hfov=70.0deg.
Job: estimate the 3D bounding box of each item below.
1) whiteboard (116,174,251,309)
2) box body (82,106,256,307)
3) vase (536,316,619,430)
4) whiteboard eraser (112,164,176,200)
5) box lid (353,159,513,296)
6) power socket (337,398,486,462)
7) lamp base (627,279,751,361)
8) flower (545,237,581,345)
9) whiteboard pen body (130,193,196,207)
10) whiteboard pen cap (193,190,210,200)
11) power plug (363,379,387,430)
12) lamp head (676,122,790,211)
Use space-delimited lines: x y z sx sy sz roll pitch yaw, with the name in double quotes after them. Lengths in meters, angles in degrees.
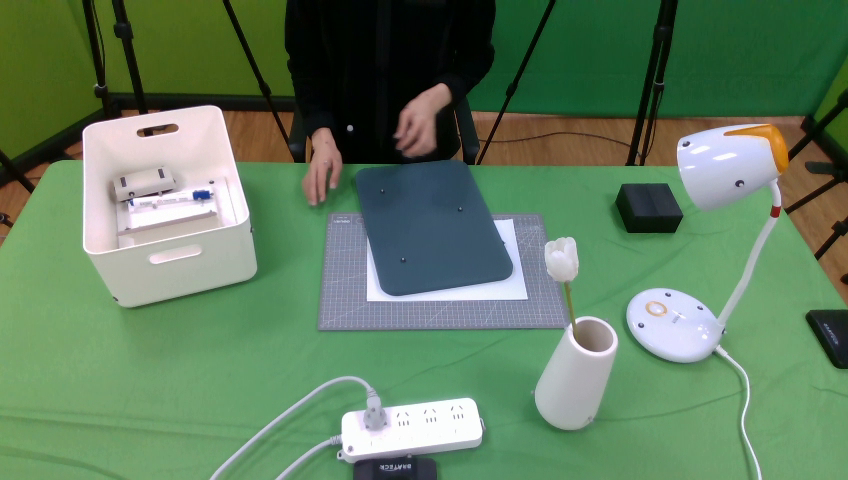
-0.473 -0.055 1.130 0.217 0.144 0.303 -15 50 -16 "whiteboard"
-0.471 -0.070 1.131 0.254 0.161 0.361 -14 49 -17 "box body"
0.229 0.200 0.901 0.098 0.201 0.097 3 46 -3 "vase"
-0.567 -0.116 1.230 0.113 0.042 0.055 -17 57 -22 "whiteboard eraser"
0.009 -0.039 1.242 0.264 0.015 0.369 -8 47 -12 "box lid"
-0.018 0.285 0.914 0.227 0.033 0.071 -4 46 -8 "power socket"
0.460 0.100 1.027 0.178 0.181 0.160 27 51 17 "lamp base"
0.213 0.137 0.846 0.038 0.364 0.044 22 55 40 "flower"
-0.498 -0.080 1.187 0.141 0.017 0.017 -7 47 -16 "whiteboard pen body"
-0.443 -0.089 1.204 0.033 0.018 0.018 -9 48 -16 "whiteboard pen cap"
-0.071 0.252 0.911 0.035 0.053 0.072 3 40 0 "power plug"
0.423 -0.104 0.819 0.122 0.113 0.112 -13 33 40 "lamp head"
